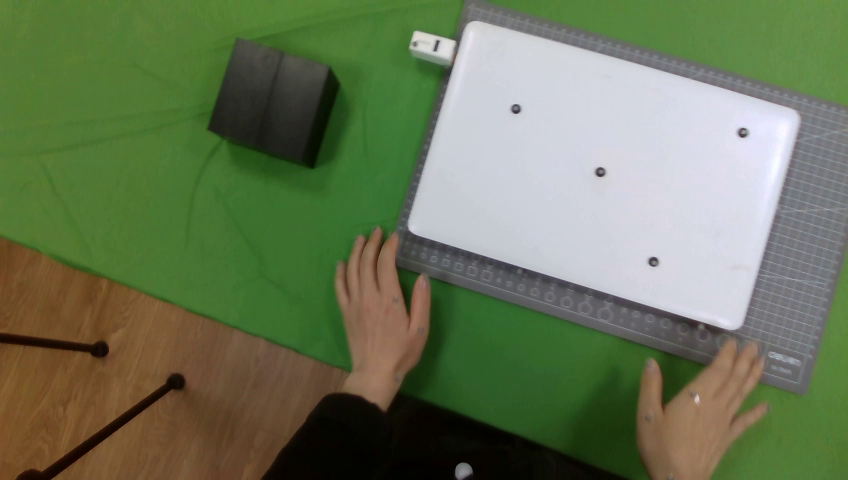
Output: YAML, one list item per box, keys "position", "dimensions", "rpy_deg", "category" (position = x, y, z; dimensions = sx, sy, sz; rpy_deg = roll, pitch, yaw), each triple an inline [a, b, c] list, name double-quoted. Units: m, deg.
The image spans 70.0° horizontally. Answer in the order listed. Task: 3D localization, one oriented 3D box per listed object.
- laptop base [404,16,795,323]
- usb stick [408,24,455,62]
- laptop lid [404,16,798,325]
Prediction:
- position: [0.178, -0.075, 0.630]
  dimensions: [0.354, 0.023, 0.235]
  rpy_deg: [17, 91, 3]
  category: "laptop base"
- position: [0.014, -0.203, 0.632]
  dimensions: [0.059, 0.027, 0.021]
  rpy_deg: [20, 83, 5]
  category: "usb stick"
- position: [0.177, -0.073, 0.619]
  dimensions: [0.356, 0.013, 0.241]
  rpy_deg: [19, 91, 3]
  category: "laptop lid"
